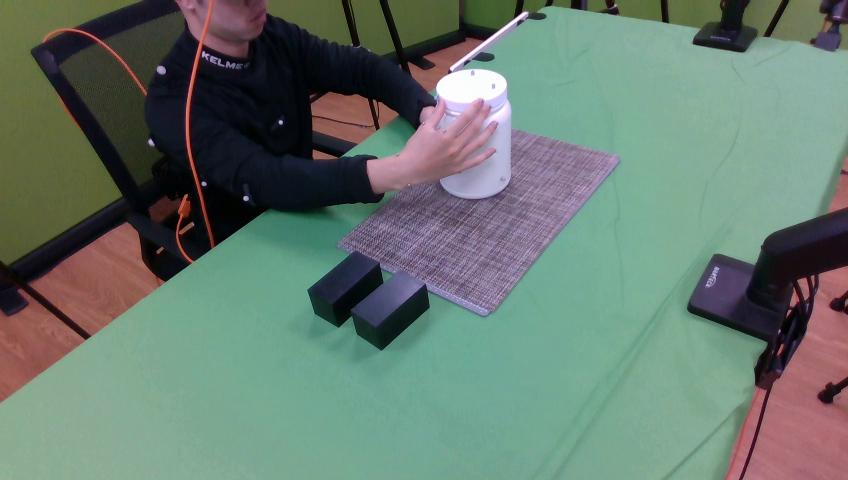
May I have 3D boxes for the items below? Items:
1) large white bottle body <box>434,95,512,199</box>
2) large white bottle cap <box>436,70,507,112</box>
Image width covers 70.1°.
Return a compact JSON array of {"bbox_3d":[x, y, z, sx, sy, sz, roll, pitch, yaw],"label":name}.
[{"bbox_3d":[0.085,-0.177,1.032,0.130,0.185,0.130,-4,40,4],"label":"large white bottle body"},{"bbox_3d":[0.076,-0.242,0.975,0.115,0.018,0.114,-4,40,4],"label":"large white bottle cap"}]
